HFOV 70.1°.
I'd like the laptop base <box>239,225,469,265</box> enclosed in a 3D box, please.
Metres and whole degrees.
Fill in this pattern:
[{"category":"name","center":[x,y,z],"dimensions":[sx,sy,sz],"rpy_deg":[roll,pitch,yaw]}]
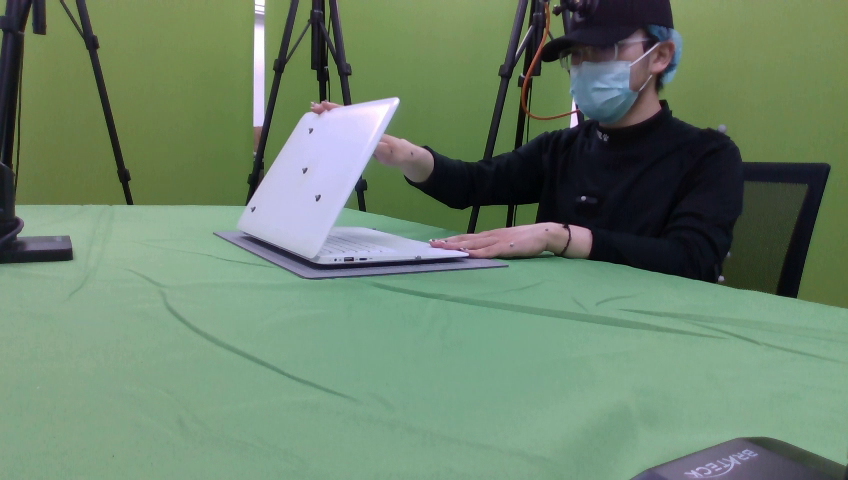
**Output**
[{"category":"laptop base","center":[-0.124,0.005,0.936],"dimensions":[0.237,0.023,0.352],"rpy_deg":[2,7,-33]}]

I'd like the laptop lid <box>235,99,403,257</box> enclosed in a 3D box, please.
[{"category":"laptop lid","center":[-0.171,-0.100,0.889],"dimensions":[0.013,0.241,0.355],"rpy_deg":[35,-10,-31]}]
